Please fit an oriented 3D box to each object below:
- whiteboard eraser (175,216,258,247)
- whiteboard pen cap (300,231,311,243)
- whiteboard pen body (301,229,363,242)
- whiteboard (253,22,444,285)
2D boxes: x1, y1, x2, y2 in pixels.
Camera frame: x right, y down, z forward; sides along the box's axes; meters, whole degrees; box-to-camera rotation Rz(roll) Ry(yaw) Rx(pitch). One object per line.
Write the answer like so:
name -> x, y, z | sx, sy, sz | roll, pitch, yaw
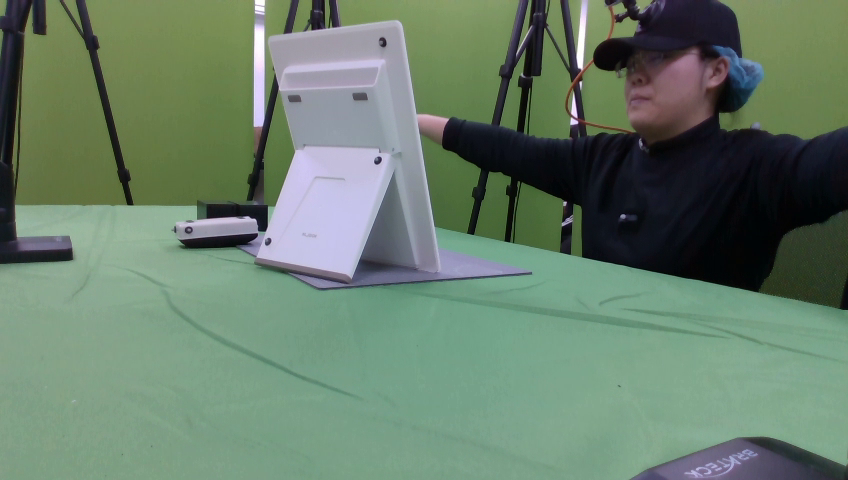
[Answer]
whiteboard eraser -> -0.313, -0.013, 0.915 | 0.113, 0.042, 0.055 | -5, 12, -30
whiteboard pen cap -> -0.189, -0.004, 0.965 | 0.018, 0.018, 0.033 | 2, 9, -9
whiteboard pen body -> -0.153, -0.007, 1.017 | 0.017, 0.017, 0.141 | 8, 9, 36
whiteboard -> -0.125, -0.081, 0.715 | 0.216, 0.305, 0.144 | 9, 29, 36
